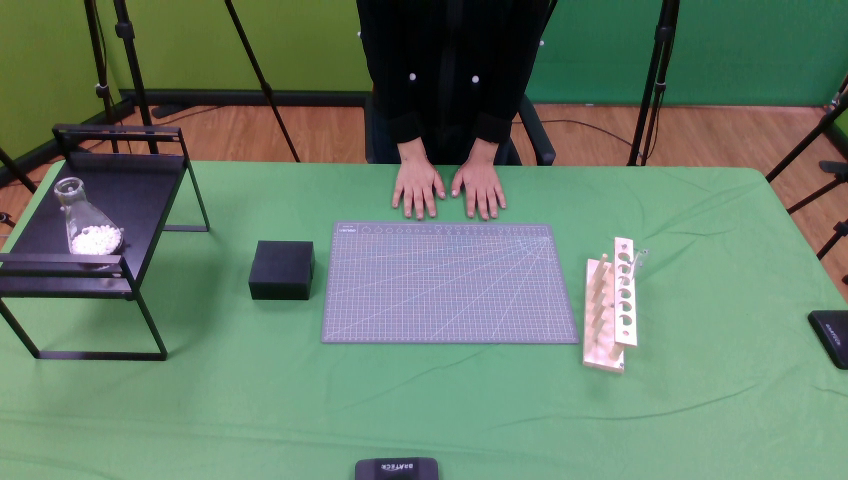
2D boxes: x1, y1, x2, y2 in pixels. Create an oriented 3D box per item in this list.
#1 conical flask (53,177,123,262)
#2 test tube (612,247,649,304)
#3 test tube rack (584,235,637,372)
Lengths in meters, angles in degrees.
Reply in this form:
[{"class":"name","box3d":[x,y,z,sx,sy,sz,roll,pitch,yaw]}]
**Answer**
[{"class":"conical flask","box3d":[-0.490,-0.033,0.872,0.075,0.122,0.075,1,46,-1]},{"class":"test tube","box3d":[0.352,0.065,1.044,0.017,0.151,0.017,3,49,-4]},{"class":"test tube rack","box3d":[0.329,0.103,1.073,0.067,0.085,0.241,11,47,7]}]
